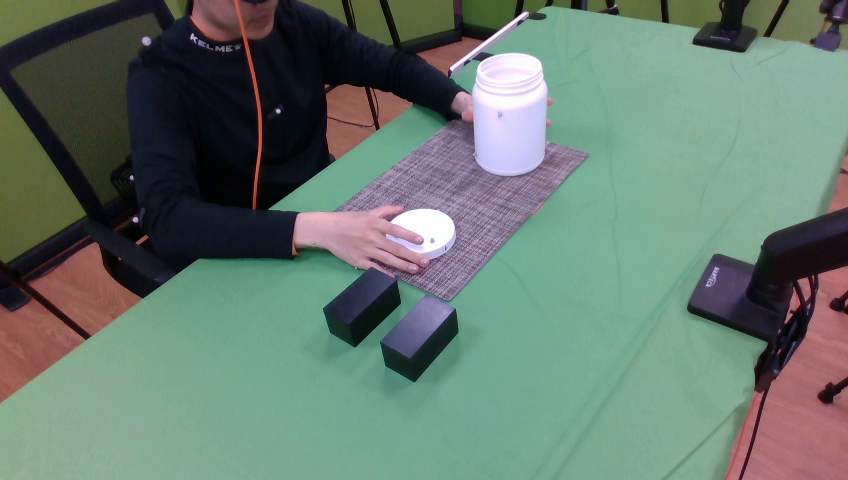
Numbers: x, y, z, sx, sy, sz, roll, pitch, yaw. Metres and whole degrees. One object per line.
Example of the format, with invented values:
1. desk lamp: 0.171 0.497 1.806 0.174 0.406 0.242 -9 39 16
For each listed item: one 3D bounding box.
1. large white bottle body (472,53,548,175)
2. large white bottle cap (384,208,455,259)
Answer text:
1. large white bottle body: 0.152 -0.224 1.075 0.130 0.185 0.130 -4 41 4
2. large white bottle cap: -0.007 -0.012 0.980 0.115 0.018 0.114 -3 41 3
